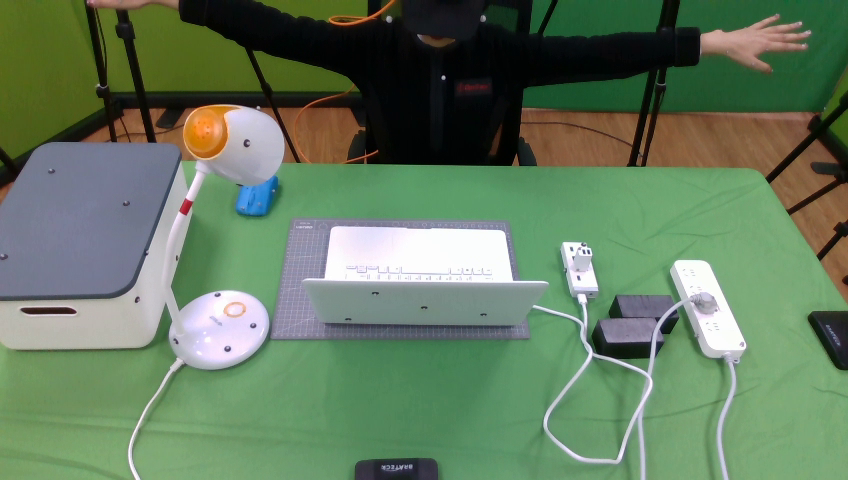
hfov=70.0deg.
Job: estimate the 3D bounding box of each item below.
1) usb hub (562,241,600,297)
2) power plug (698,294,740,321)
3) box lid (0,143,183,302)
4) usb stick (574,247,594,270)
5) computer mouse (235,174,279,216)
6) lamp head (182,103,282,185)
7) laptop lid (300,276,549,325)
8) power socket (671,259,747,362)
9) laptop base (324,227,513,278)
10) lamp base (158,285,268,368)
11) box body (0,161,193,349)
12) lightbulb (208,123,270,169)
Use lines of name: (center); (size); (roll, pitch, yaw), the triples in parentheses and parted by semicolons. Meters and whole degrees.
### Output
usb hub: (0.300, 0.055, 1.162); (0.049, 0.025, 0.124); (2, 46, -3)
power plug: (0.515, 0.127, 1.070); (0.035, 0.053, 0.072); (-18, 56, -7)
box lid: (-0.567, -0.045, 0.999); (0.263, 0.015, 0.369); (-1, 46, -4)
usb stick: (0.298, 0.040, 1.135); (0.027, 0.059, 0.021); (2, 46, -4)
computer mouse: (-0.346, -0.099, 1.258); (0.063, 0.041, 0.116); (8, 50, 2)
lamp head: (-0.271, -0.133, 0.825); (0.112, 0.112, 0.123); (20, 8, 15)
laptop lid: (-0.002, 0.100, 0.947); (0.357, 0.242, 0.013); (1, 67, -4)
power socket: (0.516, 0.119, 1.108); (0.072, 0.033, 0.225); (0, 46, -2)
laptop base: (-0.009, 0.062, 1.137); (0.354, 0.023, 0.234); (1, 42, -3)
lamp base: (-0.348, 0.102, 0.963); (0.160, 0.181, 0.178); (23, 51, 18)
box body: (-0.570, 0.006, 1.054); (0.254, 0.161, 0.361); (-1, 46, -4)
lightbulb: (-0.261, -0.136, 0.848); (0.059, 0.108, 0.059); (-4, 77, 21)
